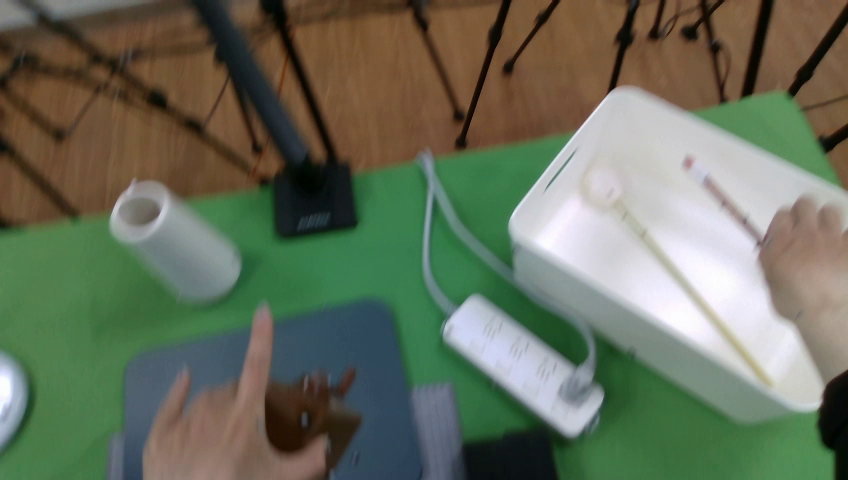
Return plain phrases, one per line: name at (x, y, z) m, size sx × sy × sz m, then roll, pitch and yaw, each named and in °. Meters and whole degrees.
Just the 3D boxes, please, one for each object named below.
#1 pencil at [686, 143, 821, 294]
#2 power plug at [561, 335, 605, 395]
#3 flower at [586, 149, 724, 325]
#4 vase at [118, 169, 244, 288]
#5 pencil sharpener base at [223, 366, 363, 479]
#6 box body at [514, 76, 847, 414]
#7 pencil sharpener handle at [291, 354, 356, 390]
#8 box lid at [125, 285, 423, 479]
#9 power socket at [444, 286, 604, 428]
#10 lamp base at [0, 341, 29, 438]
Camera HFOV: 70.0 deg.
pencil at (0.330, -0.024, 0.610) m, size 0.012 × 0.012 × 0.192 m, roll -32°, pitch 73°, yaw -9°
power plug at (0.197, 0.155, 0.725) m, size 0.072 × 0.053 × 0.035 m, roll -34°, pitch 63°, yaw -14°
flower at (0.331, 0.027, 0.801) m, size 0.044 × 0.038 × 0.359 m, roll -34°, pitch 71°, yaw 11°
vase at (-0.307, -0.012, 0.784) m, size 0.098 × 0.201 × 0.097 m, roll -2°, pitch 64°, yaw 4°
pencil sharpener base at (-0.105, 0.153, 0.513) m, size 0.061 × 0.108 × 0.076 m, roll 26°, pitch 80°, yaw 18°
box body at (0.318, 0.007, 0.734) m, size 0.361 × 0.161 × 0.253 m, roll 35°, pitch 73°, yaw 19°
pencil sharpener handle at (-0.081, 0.106, 0.509) m, size 0.035 × 0.068 × 0.030 m, roll 25°, pitch 79°, yaw 26°
box lid at (-0.198, 0.211, 0.774) m, size 0.371 × 0.015 × 0.261 m, roll -13°, pitch 65°, yaw 0°
power socket at (0.124, 0.144, 0.763) m, size 0.225 × 0.033 × 0.072 m, roll 38°, pitch 74°, yaw 20°
lamp base at (-0.622, 0.169, 0.741) m, size 0.160 × 0.182 × 0.177 m, roll -38°, pitch 65°, yaw -12°
